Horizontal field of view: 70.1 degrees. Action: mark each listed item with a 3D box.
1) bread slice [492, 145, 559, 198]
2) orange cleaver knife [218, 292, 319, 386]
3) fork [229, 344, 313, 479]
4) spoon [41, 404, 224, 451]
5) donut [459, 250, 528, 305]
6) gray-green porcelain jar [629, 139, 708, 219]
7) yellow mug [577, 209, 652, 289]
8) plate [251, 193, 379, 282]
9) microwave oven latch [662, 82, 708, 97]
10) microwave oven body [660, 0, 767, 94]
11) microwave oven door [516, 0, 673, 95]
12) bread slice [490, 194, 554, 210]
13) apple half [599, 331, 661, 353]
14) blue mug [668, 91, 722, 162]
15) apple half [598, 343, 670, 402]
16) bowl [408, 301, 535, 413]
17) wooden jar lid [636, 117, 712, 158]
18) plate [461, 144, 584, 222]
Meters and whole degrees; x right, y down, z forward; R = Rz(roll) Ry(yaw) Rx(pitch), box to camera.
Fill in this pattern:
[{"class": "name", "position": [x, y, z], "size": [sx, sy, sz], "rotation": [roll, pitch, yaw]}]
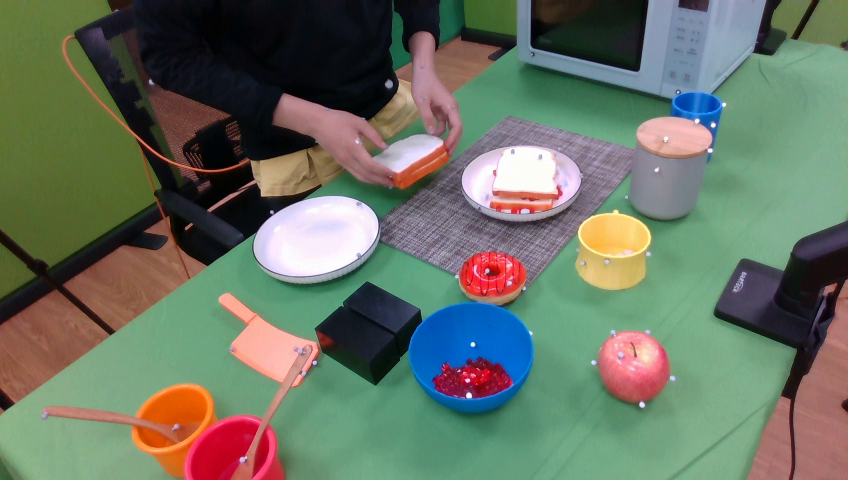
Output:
[{"class": "bread slice", "position": [0.172, -0.118, 1.027], "size": [0.107, 0.018, 0.134], "rotation": [3, 43, 7]}, {"class": "orange cleaver knife", "position": [-0.235, 0.136, 0.850], "size": [0.209, 0.012, 0.077], "rotation": [25, 56, 30]}, {"class": "fork", "position": [-0.173, 0.205, 0.662], "size": [0.028, 0.019, 0.207], "rotation": [29, 94, 36]}, {"class": "spoon", "position": [-0.321, 0.206, 0.681], "size": [0.021, 0.195, 0.041], "rotation": [-47, 36, 23]}, {"class": "donut", "position": [0.100, 0.053, 0.873], "size": [0.099, 0.048, 0.098], "rotation": [-5, 40, 4]}, {"class": "gray-green porcelain jar", "position": [0.383, -0.105, 0.958], "size": [0.106, 0.127, 0.105], "rotation": [-4, 41, 4]}, {"class": "yellow mug", "position": [0.279, 0.004, 0.893], "size": [0.099, 0.064, 0.130], "rotation": [5, 41, 15]}, {"class": "plate", "position": [-0.174, -0.001, 0.984], "size": [0.209, 0.038, 0.208], "rotation": [-3, 40, 3]}, {"class": "microwave oven latch", "position": [0.518, -0.298, 1.203], "size": [0.078, 0.029, 0.030], "rotation": [29, 53, 35]}, {"class": "microwave oven body", "position": [0.474, -0.517, 1.313], "size": [0.438, 0.261, 0.327], "rotation": [26, 51, 34]}, {"class": "microwave oven door", "position": [0.344, -0.458, 1.256], "size": [0.353, 0.245, 0.039], "rotation": [26, 51, 33]}, {"class": "bread slice", "position": [0.173, -0.099, 1.047], "size": [0.104, 0.019, 0.131], "rotation": [2, 43, 12]}, {"class": "apple half", "position": [0.249, 0.134, 0.738], "size": [0.081, 0.081, 0.032], "rotation": [-1, 46, 7]}, {"class": "blue mug", "position": [0.474, -0.207, 1.079], "size": [0.082, 0.106, 0.116], "rotation": [4, 42, 13]}, {"class": "apple half", "position": [0.247, 0.161, 0.710], "size": [0.081, 0.075, 0.053], "rotation": [2, 47, 5]}, {"class": "bowl", "position": [0.060, 0.156, 0.739], "size": [0.151, 0.077, 0.150], "rotation": [-4, 40, 4]}, {"class": "wooden jar lid", "position": [0.377, -0.151, 0.917], "size": [0.108, 0.021, 0.108], "rotation": [-2, 42, 2]}, {"class": "plate", "position": [0.168, -0.095, 1.040], "size": [0.207, 0.039, 0.206], "rotation": [-4, 40, 4]}]
